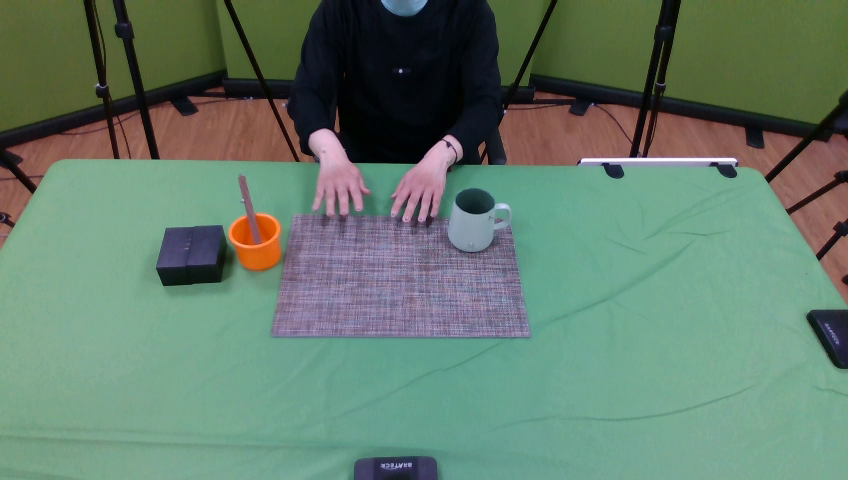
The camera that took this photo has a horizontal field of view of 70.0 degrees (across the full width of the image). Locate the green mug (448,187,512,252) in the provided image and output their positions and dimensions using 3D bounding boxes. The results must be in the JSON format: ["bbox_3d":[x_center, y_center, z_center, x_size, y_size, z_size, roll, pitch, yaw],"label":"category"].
[{"bbox_3d":[0.111,-0.041,1.179,0.125,0.105,0.092,-7,47,-10],"label":"green mug"}]

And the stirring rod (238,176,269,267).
[{"bbox_3d":[-0.318,-0.035,1.127,0.014,0.006,0.176,-15,90,-14],"label":"stirring rod"}]
